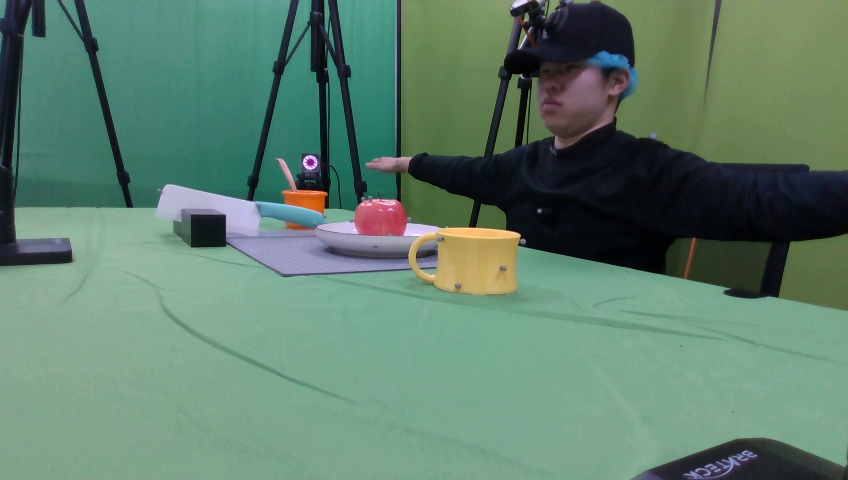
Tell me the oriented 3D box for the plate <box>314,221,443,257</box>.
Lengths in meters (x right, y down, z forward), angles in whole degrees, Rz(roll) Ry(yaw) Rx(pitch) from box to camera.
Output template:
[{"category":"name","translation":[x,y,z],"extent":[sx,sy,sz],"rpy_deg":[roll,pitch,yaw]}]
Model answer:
[{"category":"plate","translation":[-0.067,-0.002,0.948],"extent":[0.209,0.038,0.209],"rpy_deg":[3,7,0]}]

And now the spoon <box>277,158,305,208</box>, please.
[{"category":"spoon","translation":[-0.272,-0.103,1.260],"extent":[0.042,0.193,0.021],"rpy_deg":[-5,-34,-33]}]

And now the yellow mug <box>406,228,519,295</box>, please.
[{"category":"yellow mug","translation":[0.044,0.022,0.707],"extent":[0.131,0.064,0.100],"rpy_deg":[2,7,5]}]

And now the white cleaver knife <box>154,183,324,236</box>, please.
[{"category":"white cleaver knife","translation":[-0.310,-0.042,1.049],"extent":[0.288,0.066,0.021],"rpy_deg":[10,4,-28]}]

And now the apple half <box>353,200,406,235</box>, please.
[{"category":"apple half","translation":[-0.064,-0.023,0.909],"extent":[0.081,0.074,0.053],"rpy_deg":[3,11,-17]}]

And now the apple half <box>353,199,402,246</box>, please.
[{"category":"apple half","translation":[-0.076,-0.029,0.946],"extent":[0.081,0.081,0.032],"rpy_deg":[0,12,-18]}]
